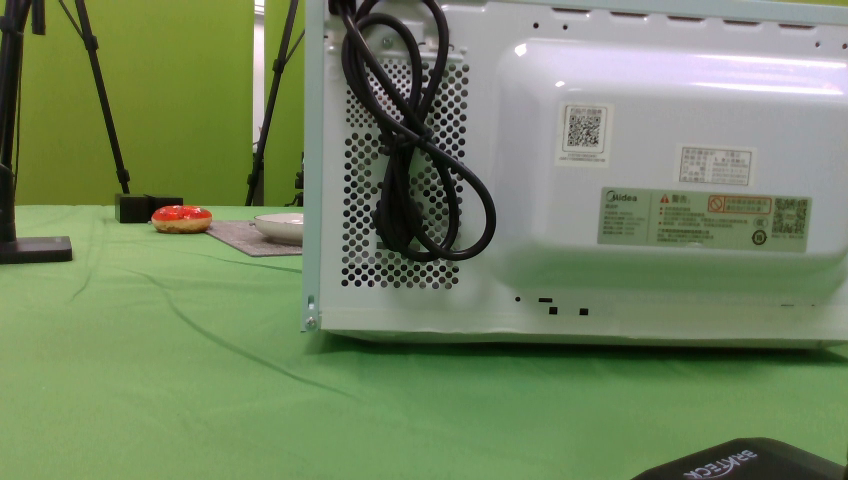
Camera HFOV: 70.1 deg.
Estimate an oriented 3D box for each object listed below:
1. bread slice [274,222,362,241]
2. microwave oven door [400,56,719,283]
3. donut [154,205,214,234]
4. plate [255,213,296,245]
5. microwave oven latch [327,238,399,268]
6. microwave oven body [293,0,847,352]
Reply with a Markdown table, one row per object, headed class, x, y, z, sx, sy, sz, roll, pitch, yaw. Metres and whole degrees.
| class | x | y | z | sx | sy | sz | roll | pitch | yaw |
| --- | --- | --- | --- | --- | --- | --- | --- | --- | --- |
| bread slice | -0.181 | -0.016 | 1.011 | 0.104 | 0.019 | 0.132 | 6 | 8 | 27 |
| microwave oven door | 0.155 | -0.077 | 0.697 | 0.356 | 0.243 | 0.039 | 2 | 8 | -5 |
| donut | -0.426 | -0.037 | 1.075 | 0.099 | 0.048 | 0.099 | 2 | 12 | 0 |
| plate | -0.177 | -0.018 | 1.017 | 0.208 | 0.039 | 0.207 | 2 | 7 | 0 |
| microwave oven latch | -0.069 | 0.015 | 0.694 | 0.079 | 0.029 | 0.030 | 3 | 7 | -3 |
| microwave oven body | 0.122 | -0.055 | 0.550 | 0.442 | 0.260 | 0.325 | 3 | 7 | -5 |
